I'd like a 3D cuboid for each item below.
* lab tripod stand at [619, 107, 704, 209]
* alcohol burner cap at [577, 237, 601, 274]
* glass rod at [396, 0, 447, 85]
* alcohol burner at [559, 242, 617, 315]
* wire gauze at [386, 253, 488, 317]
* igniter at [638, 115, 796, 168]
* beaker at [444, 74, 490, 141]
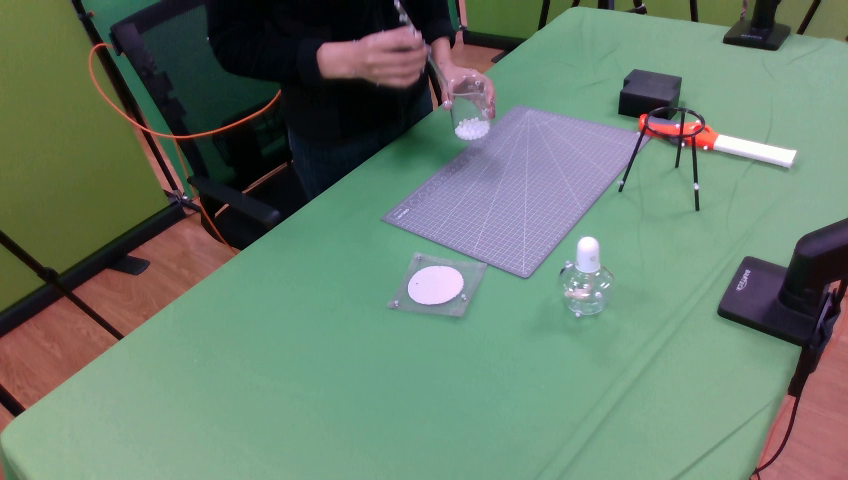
[{"bbox_3d":[0.400,-0.136,0.981,0.148,0.132,0.147,-4,41,4],"label":"lab tripod stand"},{"bbox_3d":[0.216,0.018,0.793,0.034,0.048,0.033,-7,35,6],"label":"alcohol burner cap"},{"bbox_3d":[-0.001,-0.300,0.939,0.008,0.201,0.008,-9,65,20],"label":"glass rod"},{"bbox_3d":[0.222,0.045,0.816,0.078,0.119,0.077,-4,42,4],"label":"alcohol burner"},{"bbox_3d":[0.021,0.067,0.910,0.121,0.011,0.125,9,41,20],"label":"wire gauze"},{"bbox_3d":[0.517,-0.181,1.093,0.274,0.025,0.057,23,65,32],"label":"igniter"},{"bbox_3d":[0.083,-0.238,1.096,0.074,0.101,0.083,-38,47,-27],"label":"beaker"}]
